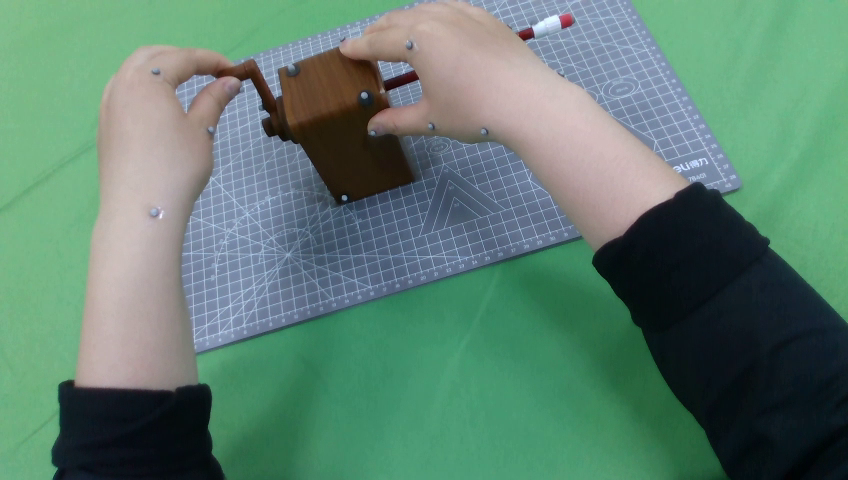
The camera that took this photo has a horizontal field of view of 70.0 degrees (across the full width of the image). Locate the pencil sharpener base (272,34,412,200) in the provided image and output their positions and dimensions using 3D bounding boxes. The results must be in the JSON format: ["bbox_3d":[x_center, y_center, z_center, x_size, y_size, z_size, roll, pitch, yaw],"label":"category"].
[{"bbox_3d":[-0.060,-0.088,0.461,0.077,0.108,0.061,-20,60,2],"label":"pencil sharpener base"}]

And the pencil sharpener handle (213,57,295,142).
[{"bbox_3d":[-0.119,-0.095,0.429,0.030,0.068,0.035,-20,39,3],"label":"pencil sharpener handle"}]

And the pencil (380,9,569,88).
[{"bbox_3d":[0.011,-0.127,0.433,0.194,0.012,0.012,-20,60,3],"label":"pencil"}]
